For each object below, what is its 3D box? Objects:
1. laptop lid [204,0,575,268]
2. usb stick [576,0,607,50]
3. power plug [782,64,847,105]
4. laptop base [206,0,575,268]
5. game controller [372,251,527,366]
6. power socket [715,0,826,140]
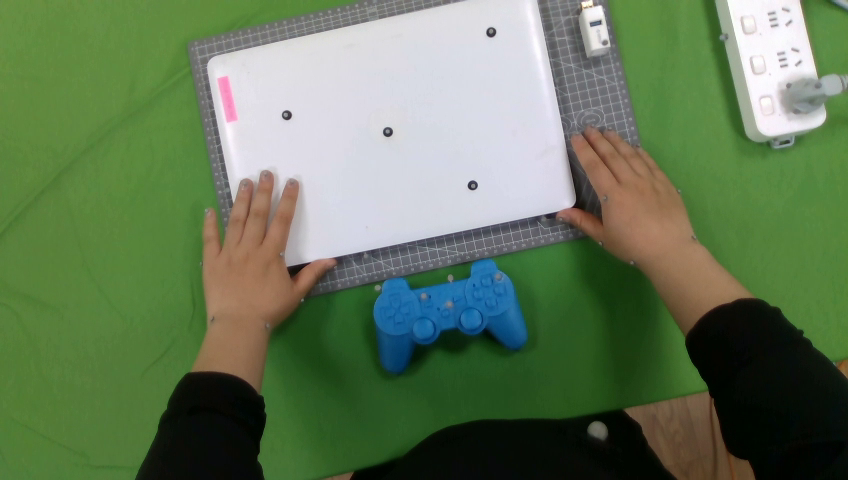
[{"bbox_3d":[-0.039,-0.118,0.627,0.357,0.013,0.241,-10,90,3],"label":"laptop lid"},{"bbox_3d":[0.171,-0.230,0.625,0.021,0.027,0.059,-13,85,5],"label":"usb stick"},{"bbox_3d":[0.387,-0.150,0.590,0.072,0.052,0.035,0,87,-1],"label":"power plug"},{"bbox_3d":[-0.038,-0.120,0.639,0.354,0.023,0.235,-12,91,3],"label":"laptop base"},{"bbox_3d":[0.022,0.069,0.617,0.155,0.052,0.097,-12,83,3],"label":"game controller"},{"bbox_3d":[0.344,-0.215,0.613,0.072,0.032,0.226,-11,87,4],"label":"power socket"}]
